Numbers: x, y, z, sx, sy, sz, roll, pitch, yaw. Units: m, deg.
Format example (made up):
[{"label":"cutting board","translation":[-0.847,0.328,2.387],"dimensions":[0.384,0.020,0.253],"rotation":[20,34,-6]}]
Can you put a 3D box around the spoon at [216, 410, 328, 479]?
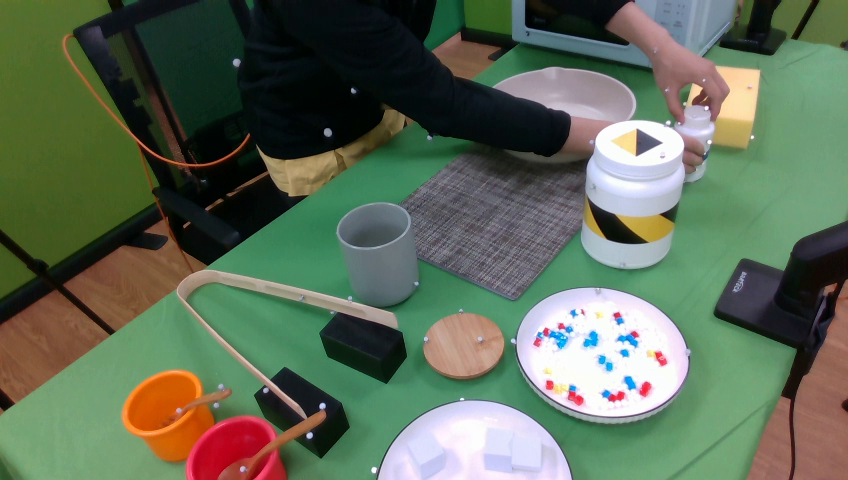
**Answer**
[{"label":"spoon","translation":[-0.165,0.224,0.640],"dimensions":[0.193,0.022,0.041],"rotation":[-41,31,30]}]

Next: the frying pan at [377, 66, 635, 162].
[{"label":"frying pan","translation":[0.150,-0.255,1.177],"dimensions":[0.488,0.103,0.306],"rotation":[7,41,4]}]

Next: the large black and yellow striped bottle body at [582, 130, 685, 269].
[{"label":"large black and yellow striped bottle body","translation":[0.301,-0.063,0.877],"dimensions":[0.131,0.185,0.130],"rotation":[-4,41,4]}]

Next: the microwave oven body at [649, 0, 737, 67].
[{"label":"microwave oven body","translation":[0.475,-0.602,1.411],"dimensions":[0.438,0.261,0.327],"rotation":[23,50,32]}]

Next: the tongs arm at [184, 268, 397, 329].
[{"label":"tongs arm","translation":[-0.202,0.084,0.848],"dimensions":[0.382,0.027,0.051],"rotation":[11,45,35]}]

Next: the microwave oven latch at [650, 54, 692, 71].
[{"label":"microwave oven latch","translation":[0.530,-0.386,1.301],"dimensions":[0.078,0.029,0.030],"rotation":[23,50,31]}]

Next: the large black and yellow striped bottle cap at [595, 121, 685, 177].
[{"label":"large black and yellow striped bottle cap","translation":[0.292,-0.126,0.821],"dimensions":[0.115,0.019,0.114],"rotation":[-5,40,4]}]

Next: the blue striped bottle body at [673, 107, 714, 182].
[{"label":"blue striped bottle body","translation":[0.448,-0.163,1.018],"dimensions":[0.063,0.121,0.063],"rotation":[-6,44,6]}]

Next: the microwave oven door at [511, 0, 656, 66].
[{"label":"microwave oven door","translation":[0.351,-0.539,1.348],"dimensions":[0.353,0.245,0.039],"rotation":[24,50,31]}]

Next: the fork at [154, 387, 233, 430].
[{"label":"fork","translation":[-0.264,0.191,0.687],"dimensions":[0.206,0.018,0.028],"rotation":[-33,9,44]}]

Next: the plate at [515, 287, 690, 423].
[{"label":"plate","translation":[0.221,0.144,0.760],"dimensions":[0.209,0.038,0.208],"rotation":[-4,40,4]}]

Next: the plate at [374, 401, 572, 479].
[{"label":"plate","translation":[0.051,0.268,0.639],"dimensions":[0.207,0.039,0.206],"rotation":[-4,40,3]}]

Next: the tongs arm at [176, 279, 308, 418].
[{"label":"tongs arm","translation":[-0.255,0.133,0.801],"dimensions":[0.028,0.028,0.384],"rotation":[-41,40,-23]}]

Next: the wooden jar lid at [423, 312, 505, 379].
[{"label":"wooden jar lid","translation":[0.053,0.142,0.800],"dimensions":[0.108,0.021,0.108],"rotation":[-4,39,4]}]

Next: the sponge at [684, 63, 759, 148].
[{"label":"sponge","translation":[0.569,-0.263,1.164],"dimensions":[0.117,0.061,0.207],"rotation":[12,45,22]}]

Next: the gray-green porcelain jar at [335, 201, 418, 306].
[{"label":"gray-green porcelain jar","translation":[-0.064,0.024,0.872],"dimensions":[0.106,0.127,0.105],"rotation":[-4,41,4]}]

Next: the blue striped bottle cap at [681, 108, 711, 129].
[{"label":"blue striped bottle cap","translation":[0.442,-0.198,0.982],"dimensions":[0.044,0.021,0.044],"rotation":[-7,36,5]}]
